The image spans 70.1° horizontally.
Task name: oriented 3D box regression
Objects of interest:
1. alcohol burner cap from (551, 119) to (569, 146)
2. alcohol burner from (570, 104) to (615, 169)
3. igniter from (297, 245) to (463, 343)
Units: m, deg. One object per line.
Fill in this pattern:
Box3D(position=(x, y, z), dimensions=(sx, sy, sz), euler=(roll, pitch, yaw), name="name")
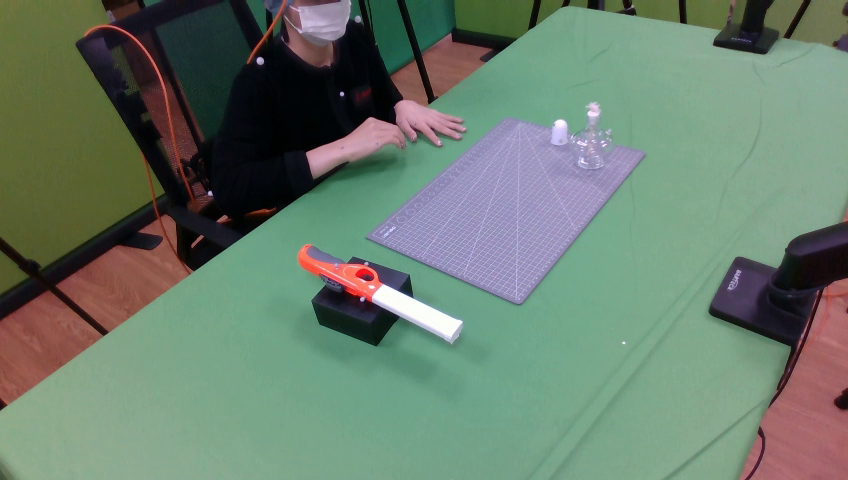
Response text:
Box3D(position=(0.261, -0.207, 1.156), dimensions=(0.034, 0.048, 0.033), euler=(-5, 41, 4), name="alcohol burner cap")
Box3D(position=(0.299, -0.186, 1.071), dimensions=(0.078, 0.119, 0.077), euler=(-6, 41, 6), name="alcohol burner")
Box3D(position=(-0.070, 0.068, 0.827), dimensions=(0.274, 0.025, 0.057), euler=(23, 49, 25), name="igniter")
